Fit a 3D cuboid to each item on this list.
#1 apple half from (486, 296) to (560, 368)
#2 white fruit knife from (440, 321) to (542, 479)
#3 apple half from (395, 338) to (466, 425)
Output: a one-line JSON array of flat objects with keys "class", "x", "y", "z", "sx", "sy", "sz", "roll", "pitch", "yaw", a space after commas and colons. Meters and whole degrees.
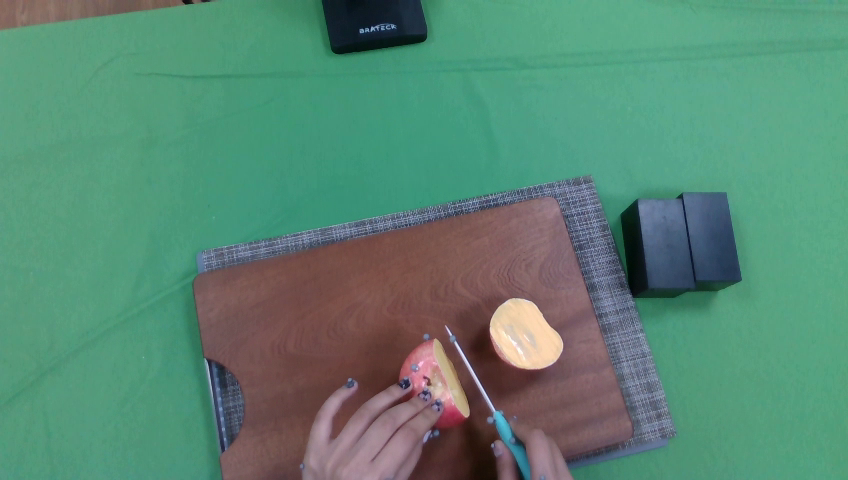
[{"class": "apple half", "x": 0.092, "y": 0.099, "z": 0.609, "sx": 0.081, "sy": 0.033, "sz": 0.080, "roll": 12, "pitch": 53, "yaw": -16}, {"class": "white fruit knife", "x": 0.067, "y": 0.167, "z": 0.569, "sx": 0.016, "sy": 0.027, "sz": 0.206, "roll": -29, "pitch": 79, "yaw": -10}, {"class": "apple half", "x": 0.002, "y": 0.139, "z": 0.574, "sx": 0.053, "sy": 0.075, "sz": 0.080, "roll": -26, "pitch": 78, "yaw": 8}]
